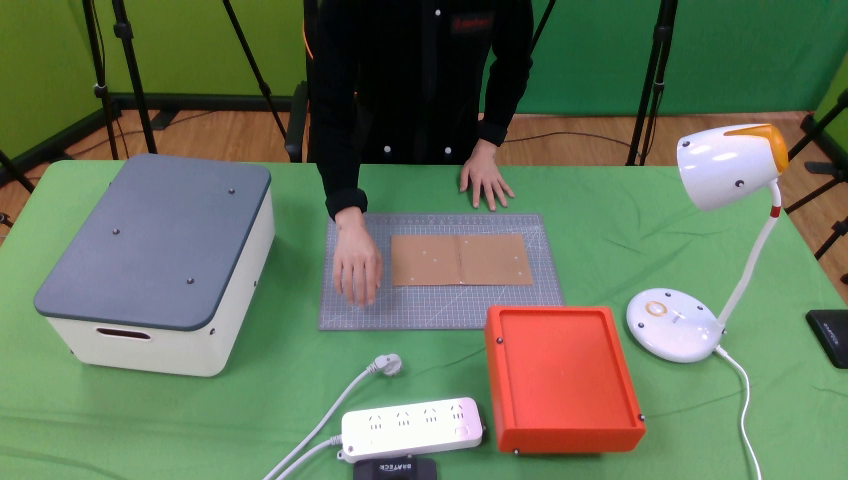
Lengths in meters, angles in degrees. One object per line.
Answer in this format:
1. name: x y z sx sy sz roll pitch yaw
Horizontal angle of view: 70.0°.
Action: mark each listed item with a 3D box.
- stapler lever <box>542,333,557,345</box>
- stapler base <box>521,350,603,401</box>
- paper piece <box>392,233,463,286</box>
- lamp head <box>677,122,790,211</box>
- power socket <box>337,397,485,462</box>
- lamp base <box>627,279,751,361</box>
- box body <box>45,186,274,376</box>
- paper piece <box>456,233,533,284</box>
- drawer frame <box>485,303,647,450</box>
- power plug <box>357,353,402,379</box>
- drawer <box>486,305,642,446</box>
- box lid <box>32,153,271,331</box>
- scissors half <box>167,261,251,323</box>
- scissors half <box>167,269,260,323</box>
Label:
1. stapler lever: 0.225 0.181 0.928 0.118 0.040 0.027 27 34 15
2. stapler base: 0.217 0.203 0.942 0.130 0.024 0.041 26 33 16
3. paper piece: 0.006 0.036 1.169 0.135 0.004 0.135 2 46 -3
4. lamp head: 0.423 -0.104 0.819 0.122 0.113 0.112 -13 33 40
5. power socket: -0.018 0.285 0.915 0.227 0.033 0.071 -4 46 -8
6. lamp base: 0.460 0.100 1.027 0.178 0.181 0.160 27 51 17
7. box body: -0.421 0.037 1.031 0.254 0.161 0.362 5 46 1
8. paper piece: 0.136 0.035 1.182 0.136 0.009 0.137 3 45 -7
9. drawer frame: 0.204 0.202 0.917 0.202 0.083 0.212 1 47 -4
10. power plug: -0.070 0.207 0.983 0.072 0.053 0.035 -20 51 4
11. drawer: 0.202 0.200 0.919 0.195 0.073 0.210 2 47 -4
12. box lid: -0.417 -0.015 0.980 0.263 0.015 0.369 6 46 1
13. scissors half: -0.383 0.091 1.080 0.040 0.013 0.175 25 51 30
14. scissors half: -0.369 0.101 1.069 0.175 0.013 0.040 -28 52 -22
